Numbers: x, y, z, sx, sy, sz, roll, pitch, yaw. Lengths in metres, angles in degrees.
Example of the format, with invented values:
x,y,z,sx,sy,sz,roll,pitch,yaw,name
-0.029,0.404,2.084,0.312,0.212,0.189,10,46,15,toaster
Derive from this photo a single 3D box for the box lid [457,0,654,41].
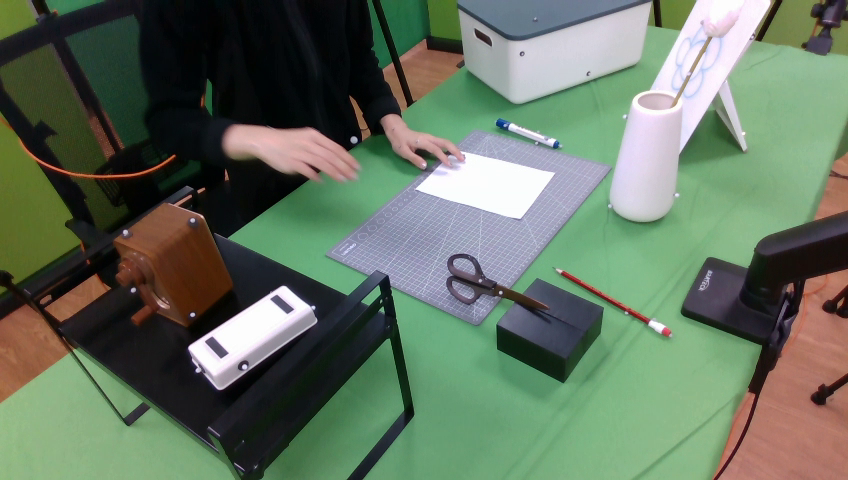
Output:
x,y,z,sx,sy,sz,roll,pitch,yaw,name
0.285,-0.522,1.323,0.373,0.015,0.261,-22,43,-16,box lid

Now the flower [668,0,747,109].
x,y,z,sx,sy,sz,roll,pitch,yaw,name
0.355,-0.187,0.879,0.038,0.362,0.044,30,48,14,flower

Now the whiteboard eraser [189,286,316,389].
x,y,z,sx,sy,sz,roll,pitch,yaw,name
-0.166,0.096,0.593,0.113,0.042,0.055,-36,46,-29,whiteboard eraser

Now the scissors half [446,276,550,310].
x,y,z,sx,sy,sz,roll,pitch,yaw,name
0.098,0.077,0.827,0.174,0.040,0.013,6,14,44,scissors half

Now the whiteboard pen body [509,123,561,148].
x,y,z,sx,sy,sz,roll,pitch,yaw,name
0.208,-0.211,1.195,0.139,0.017,0.017,30,52,33,whiteboard pen body

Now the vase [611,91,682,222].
x,y,z,sx,sy,sz,roll,pitch,yaw,name
0.348,-0.125,0.935,0.098,0.201,0.097,-3,40,3,vase

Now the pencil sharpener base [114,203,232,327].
x,y,z,sx,sy,sz,roll,pitch,yaw,name
-0.262,0.029,0.635,0.061,0.107,0.077,18,47,26,pencil sharpener base

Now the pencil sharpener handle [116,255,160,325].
x,y,z,sx,sy,sz,roll,pitch,yaw,name
-0.286,0.050,0.594,0.035,0.068,0.031,7,41,35,pencil sharpener handle

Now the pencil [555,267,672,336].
x,y,z,sx,sy,sz,roll,pitch,yaw,name
0.260,0.082,0.850,0.012,0.012,0.192,-33,46,-27,pencil

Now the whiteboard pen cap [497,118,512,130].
x,y,z,sx,sy,sz,roll,pitch,yaw,name
0.165,-0.235,1.227,0.033,0.018,0.018,30,53,31,whiteboard pen cap

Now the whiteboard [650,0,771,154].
x,y,z,sx,sy,sz,roll,pitch,yaw,name
0.543,-0.298,1.076,0.144,0.305,0.216,12,40,-7,whiteboard

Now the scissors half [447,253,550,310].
x,y,z,sx,sy,sz,roll,pitch,yaw,name
0.098,0.058,0.821,0.173,0.040,0.013,27,33,37,scissors half

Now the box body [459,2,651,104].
x,y,z,sx,sy,sz,roll,pitch,yaw,name
0.291,-0.465,1.371,0.365,0.161,0.252,-22,42,-16,box body
